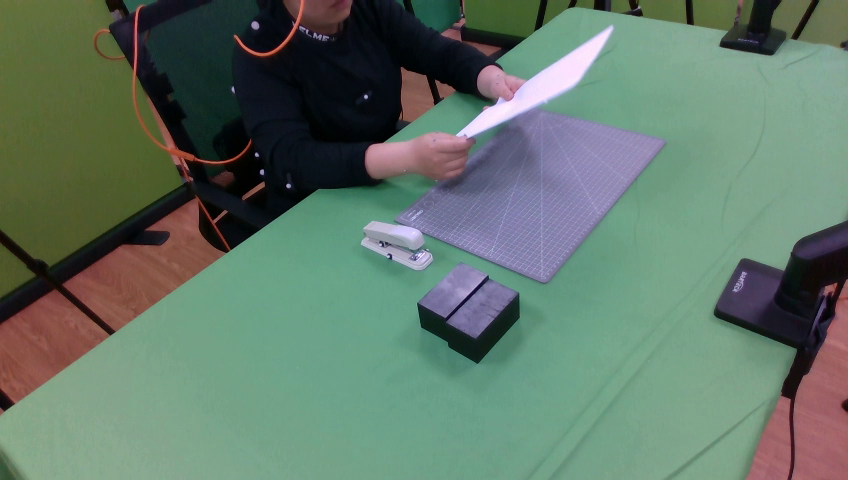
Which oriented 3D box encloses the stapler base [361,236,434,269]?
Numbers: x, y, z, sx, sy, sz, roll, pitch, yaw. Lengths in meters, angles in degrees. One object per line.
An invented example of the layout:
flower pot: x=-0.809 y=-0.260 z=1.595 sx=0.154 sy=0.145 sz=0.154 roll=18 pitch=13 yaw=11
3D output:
stapler base: x=-0.044 y=0.009 z=0.974 sx=0.129 sy=0.024 sz=0.041 roll=21 pitch=46 yaw=32

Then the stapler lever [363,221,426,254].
stapler lever: x=-0.048 y=-0.011 z=0.958 sx=0.117 sy=0.040 sz=0.027 roll=21 pitch=46 yaw=32
